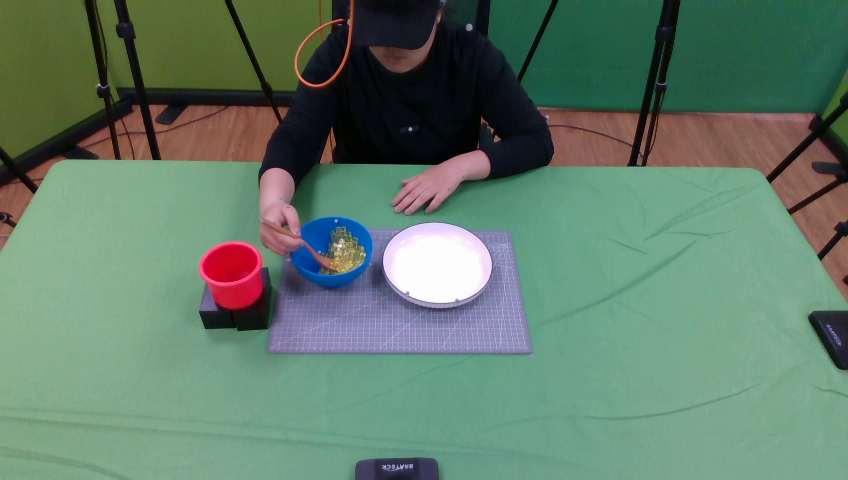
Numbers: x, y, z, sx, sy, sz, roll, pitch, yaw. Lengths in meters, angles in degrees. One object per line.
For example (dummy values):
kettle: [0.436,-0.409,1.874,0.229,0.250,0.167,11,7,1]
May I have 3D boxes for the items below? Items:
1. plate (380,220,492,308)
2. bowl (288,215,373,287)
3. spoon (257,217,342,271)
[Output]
plate: [0.022,0.048,1.138,0.208,0.039,0.206,2,46,-2]
bowl: [-0.168,0.034,1.109,0.151,0.077,0.150,2,46,-2]
spoon: [-0.215,0.006,1.061,0.021,0.195,0.041,-42,42,6]
